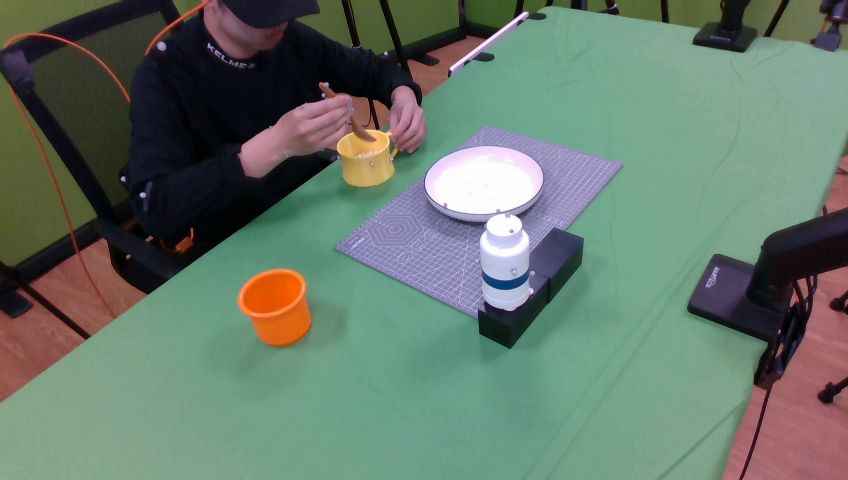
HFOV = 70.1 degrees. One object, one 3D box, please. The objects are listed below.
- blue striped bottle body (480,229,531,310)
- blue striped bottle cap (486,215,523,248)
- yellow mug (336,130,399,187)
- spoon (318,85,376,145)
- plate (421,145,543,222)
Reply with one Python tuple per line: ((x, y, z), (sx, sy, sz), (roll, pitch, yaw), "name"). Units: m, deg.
((0.104, 0.027, 0.769), (0.063, 0.121, 0.063), (-4, 40, 4), "blue striped bottle body")
((0.098, -0.011, 0.735), (0.044, 0.021, 0.044), (-3, 38, 3), "blue striped bottle cap")
((-0.098, -0.161, 1.138), (0.131, 0.064, 0.099), (-33, 47, -28), "yellow mug")
((-0.130, -0.207, 1.015), (0.041, 0.195, 0.021), (19, 76, 25), "spoon")
((0.101, -0.094, 1.048), (0.207, 0.039, 0.206), (-4, 41, 4), "plate")
